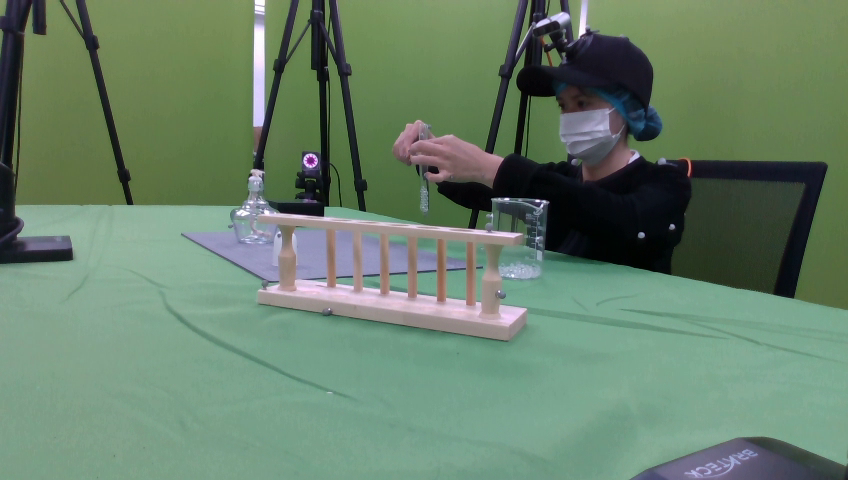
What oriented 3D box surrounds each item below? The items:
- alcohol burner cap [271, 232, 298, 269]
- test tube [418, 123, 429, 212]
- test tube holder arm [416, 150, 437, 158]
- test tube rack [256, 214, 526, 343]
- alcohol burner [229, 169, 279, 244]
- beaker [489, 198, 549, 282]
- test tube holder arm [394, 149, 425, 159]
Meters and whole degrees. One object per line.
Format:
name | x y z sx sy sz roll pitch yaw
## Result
alcohol burner cap | -0.175 0.012 0.760 0.034 0.048 0.034 2 8 0
test tube | -0.001 -0.122 1.023 0.017 0.150 0.017 -1 7 0
test tube holder arm | -0.005 -0.148 1.044 0.010 0.015 0.087 0 7 -32
test tube rack | -0.032 0.027 0.547 0.241 0.085 0.067 5 7 22
alcohol burner | -0.268 -0.053 0.958 0.078 0.119 0.078 2 5 0
beaker | 0.120 -0.001 0.768 0.074 0.100 0.083 -1 9 -25
test tube holder arm | -0.028 -0.153 1.082 0.013 0.015 0.178 2 6 -19
